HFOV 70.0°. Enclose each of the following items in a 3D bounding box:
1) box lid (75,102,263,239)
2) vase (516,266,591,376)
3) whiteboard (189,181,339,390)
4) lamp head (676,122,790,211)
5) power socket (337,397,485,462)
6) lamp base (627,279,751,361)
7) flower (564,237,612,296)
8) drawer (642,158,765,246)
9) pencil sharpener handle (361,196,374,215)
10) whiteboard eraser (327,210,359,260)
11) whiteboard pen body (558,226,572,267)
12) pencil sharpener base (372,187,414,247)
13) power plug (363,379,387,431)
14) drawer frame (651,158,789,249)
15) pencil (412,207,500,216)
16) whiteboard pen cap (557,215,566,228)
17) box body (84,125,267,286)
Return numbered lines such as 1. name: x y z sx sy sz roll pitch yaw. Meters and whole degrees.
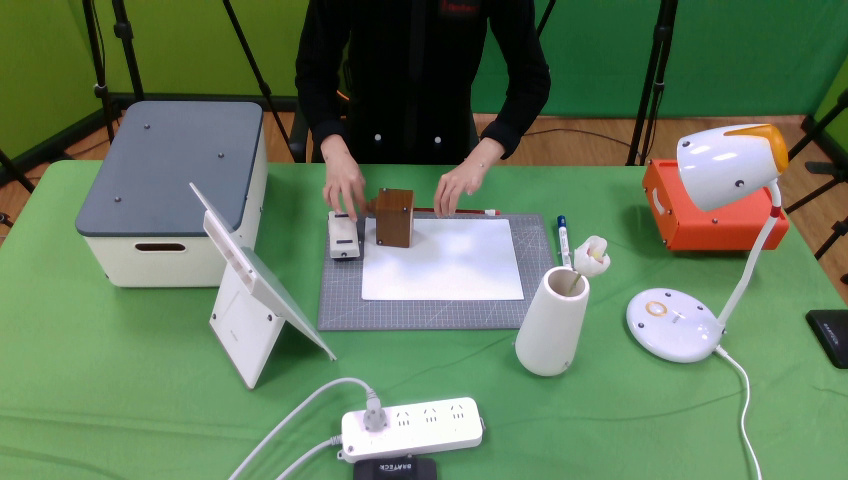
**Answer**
1. box lid: -0.443 -0.138 1.094 0.263 0.015 0.369 -1 47 -5
2. vase: 0.208 0.132 0.964 0.098 0.201 0.097 3 46 -3
3. whiteboard: -0.292 0.096 0.929 0.144 0.307 0.216 -37 57 -10
4. lamp head: 0.423 -0.104 0.819 0.122 0.113 0.112 -13 33 40
5. power socket: -0.018 0.285 0.915 0.227 0.033 0.071 -5 46 -8
6. lamp base: 0.459 0.100 1.027 0.178 0.181 0.160 27 51 17
7. flower: 0.206 0.088 0.893 0.038 0.363 0.044 -16 67 -9
8. drawer: 0.565 -0.076 1.211 0.212 0.073 0.193 2 45 -2
9. pencil sharpener handle: -0.110 -0.067 1.167 0.030 0.068 0.036 5 90 1
10. whiteboard eraser: -0.158 -0.009 1.177 0.055 0.042 0.112 -6 47 -7
11. whiteboard pen body: 0.280 0.010 1.208 0.017 0.017 0.140 3 50 -1
12. pencil sharpener base: -0.060 -0.043 1.171 0.077 0.107 0.061 5 46 1
13. power plug: -0.072 0.252 0.910 0.035 0.053 0.072 3 45 -1
14. drawer frame: 0.571 -0.075 1.214 0.214 0.083 0.200 0 46 -1
15. pencil: 0.048 -0.056 1.149 0.194 0.012 0.012 3 46 2
16. whiteboard pen cap: 0.284 -0.035 1.246 0.018 0.018 0.033 4 52 -1
17. box body: -0.446 -0.088 1.150 0.254 0.161 0.361 -1 46 -5
